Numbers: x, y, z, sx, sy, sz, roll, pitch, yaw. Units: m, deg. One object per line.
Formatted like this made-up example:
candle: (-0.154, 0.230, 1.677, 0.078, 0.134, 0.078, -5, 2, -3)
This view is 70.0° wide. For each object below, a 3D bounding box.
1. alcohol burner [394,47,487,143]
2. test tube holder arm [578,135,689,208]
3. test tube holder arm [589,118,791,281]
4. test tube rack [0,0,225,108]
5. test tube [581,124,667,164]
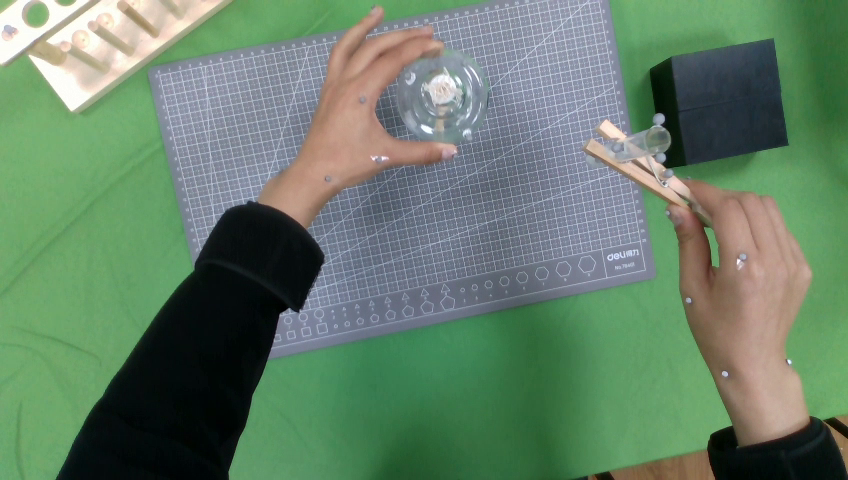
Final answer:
alcohol burner: (0.013, -0.118, 0.487, 0.078, 0.119, 0.078, 0, 97, 1)
test tube holder arm: (0.148, -0.047, 0.422, 0.088, 0.015, 0.010, 29, 100, -4)
test tube holder arm: (0.188, -0.027, 0.425, 0.179, 0.015, 0.013, 36, 100, -6)
test tube rack: (-0.252, -0.221, 0.534, 0.242, 0.085, 0.067, -36, 94, 0)
test tube: (0.130, -0.063, 0.411, 0.017, 0.150, 0.017, 0, 94, 2)
